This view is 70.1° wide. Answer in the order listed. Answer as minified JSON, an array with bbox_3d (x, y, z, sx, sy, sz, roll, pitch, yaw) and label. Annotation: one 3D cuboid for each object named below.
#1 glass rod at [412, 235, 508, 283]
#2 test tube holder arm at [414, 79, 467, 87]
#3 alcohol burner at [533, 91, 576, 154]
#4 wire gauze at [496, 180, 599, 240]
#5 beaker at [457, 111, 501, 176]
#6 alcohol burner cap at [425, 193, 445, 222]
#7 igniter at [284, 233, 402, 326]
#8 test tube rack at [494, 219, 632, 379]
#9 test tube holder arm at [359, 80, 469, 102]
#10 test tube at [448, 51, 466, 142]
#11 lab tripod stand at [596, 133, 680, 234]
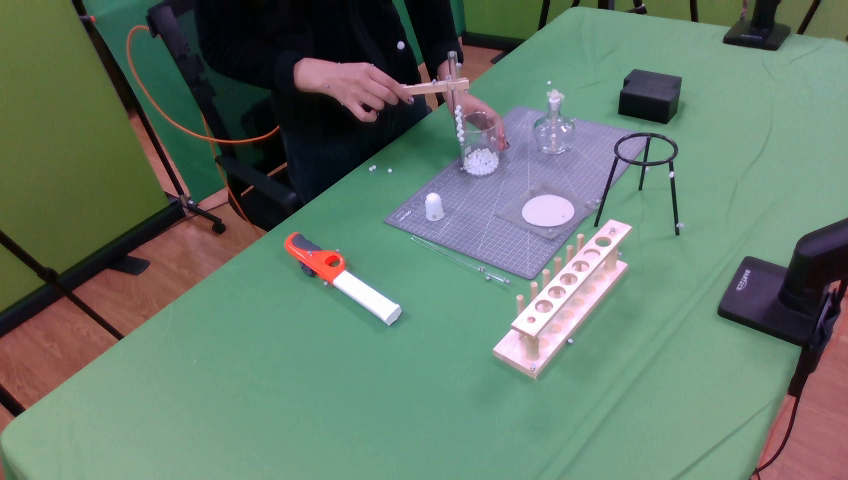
[{"bbox_3d":[0.051,0.028,0.951,0.198,0.008,0.008,25,51,37],"label":"glass rod"},{"bbox_3d":[0.028,-0.251,0.988,0.088,0.015,0.010,-11,24,-11],"label":"test tube holder arm"},{"bbox_3d":[0.243,-0.222,1.124,0.078,0.119,0.077,-4,39,4],"label":"alcohol burner"},{"bbox_3d":[0.206,-0.050,1.012,0.125,0.011,0.120,-34,45,-26],"label":"wire gauze"},{"bbox_3d":[0.104,-0.175,1.107,0.073,0.101,0.084,17,47,28],"label":"beaker"},{"bbox_3d":[0.017,-0.058,1.029,0.034,0.048,0.033,-5,40,5],"label":"alcohol burner cap"},{"bbox_3d":[-0.136,0.054,0.942,0.274,0.025,0.057,30,63,37],"label":"igniter"},{"bbox_3d":[0.191,0.068,0.818,0.066,0.085,0.243,25,51,35],"label":"test tube rack"},{"bbox_3d":[-0.015,-0.242,0.978,0.179,0.015,0.013,-8,23,-5],"label":"test tube holder arm"},{"bbox_3d":[0.054,-0.234,0.997,0.017,0.151,0.017,-6,28,4],"label":"test tube"},{"bbox_3d":[0.338,-0.091,0.940,0.148,0.132,0.147,-7,39,6],"label":"lab tripod stand"}]
